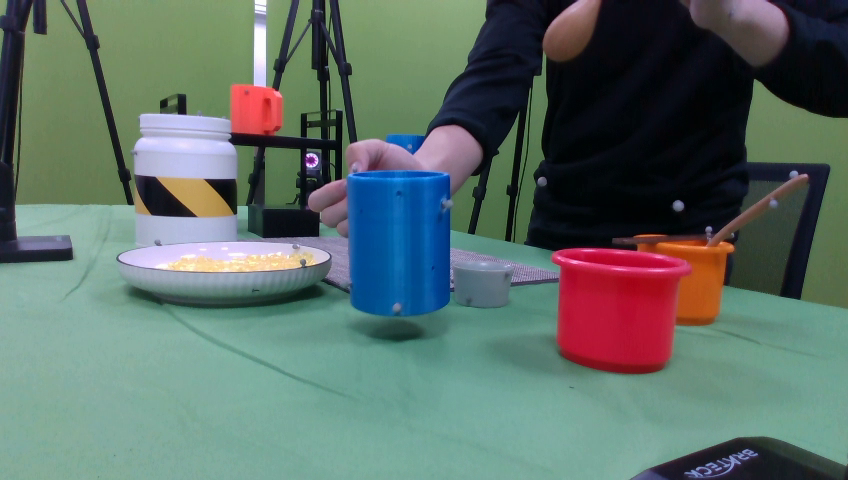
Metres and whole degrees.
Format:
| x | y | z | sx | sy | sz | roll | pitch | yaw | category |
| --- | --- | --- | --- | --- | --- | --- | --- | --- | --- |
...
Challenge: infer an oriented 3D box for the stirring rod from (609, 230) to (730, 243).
| x | y | z | sx | sy | sz | roll | pitch | yaw | category |
| --- | --- | --- | --- | --- | --- | --- | --- | --- | --- |
| 0.241 | -0.004 | 0.582 | 0.177 | 0.006 | 0.014 | -3 | 10 | -33 | stirring rod |

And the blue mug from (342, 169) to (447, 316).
| x | y | z | sx | sy | sz | roll | pitch | yaw | category |
| --- | --- | --- | --- | --- | --- | --- | --- | --- | --- |
| -0.029 | -0.004 | 0.500 | 0.083 | 0.106 | 0.116 | -6 | 12 | -24 | blue mug |

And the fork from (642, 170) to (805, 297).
| x | y | z | sx | sy | sz | roll | pitch | yaw | category |
| --- | --- | --- | --- | --- | --- | --- | --- | --- | --- |
| 0.261 | 0.003 | 0.545 | 0.028 | 0.018 | 0.207 | 5 | -37 | -16 | fork |

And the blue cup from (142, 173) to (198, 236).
| x | y | z | sx | sy | sz | roll | pitch | yaw | category |
| --- | --- | --- | --- | --- | --- | --- | --- | --- | --- |
| -0.425 | -0.060 | 1.014 | 0.093 | 0.100 | 0.092 | 4 | 9 | 0 | blue cup |

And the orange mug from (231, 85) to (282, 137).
| x | y | z | sx | sy | sz | roll | pitch | yaw | category |
| --- | --- | --- | --- | --- | --- | --- | --- | --- | --- |
| -0.335 | -0.261 | 1.225 | 0.125 | 0.100 | 0.084 | 2 | 6 | 35 | orange mug |

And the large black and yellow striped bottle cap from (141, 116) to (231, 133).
| x | y | z | sx | sy | sz | roll | pitch | yaw | category |
| --- | --- | --- | --- | --- | --- | --- | --- | --- | --- |
| -0.324 | -0.157 | 0.826 | 0.115 | 0.019 | 0.115 | 1 | 7 | 0 | large black and yellow striped bottle cap |

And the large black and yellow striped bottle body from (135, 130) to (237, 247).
| x | y | z | sx | sy | sz | roll | pitch | yaw | category |
| --- | --- | --- | --- | --- | --- | --- | --- | --- | --- |
| -0.327 | -0.074 | 0.838 | 0.131 | 0.184 | 0.130 | 2 | 7 | 0 | large black and yellow striped bottle body |

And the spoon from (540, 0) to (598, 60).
| x | y | z | sx | sy | sz | roll | pitch | yaw | category |
| --- | --- | --- | --- | --- | --- | --- | --- | --- | --- |
| 0.175 | -0.255 | 0.570 | 0.042 | 0.193 | 0.021 | 32 | 9 | -18 | spoon |

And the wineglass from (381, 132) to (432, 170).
| x | y | z | sx | sy | sz | roll | pitch | yaw | category |
| --- | --- | --- | --- | --- | --- | --- | --- | --- | --- |
| -0.026 | -0.062 | 0.841 | 0.074 | 0.172 | 0.073 | 2 | 7 | 0 | wineglass |

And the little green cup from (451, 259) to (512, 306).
| x | y | z | sx | sy | sz | roll | pitch | yaw | category |
| --- | --- | --- | --- | --- | --- | --- | --- | --- | --- |
| 0.057 | 0.043 | 0.612 | 0.061 | 0.038 | 0.061 | 3 | 7 | 0 | little green cup |

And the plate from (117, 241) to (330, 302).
| x | y | z | sx | sy | sz | roll | pitch | yaw | category |
| --- | --- | --- | --- | --- | --- | --- | --- | --- | --- |
| -0.203 | 0.031 | 0.630 | 0.209 | 0.038 | 0.209 | 3 | 7 | 0 | plate |
